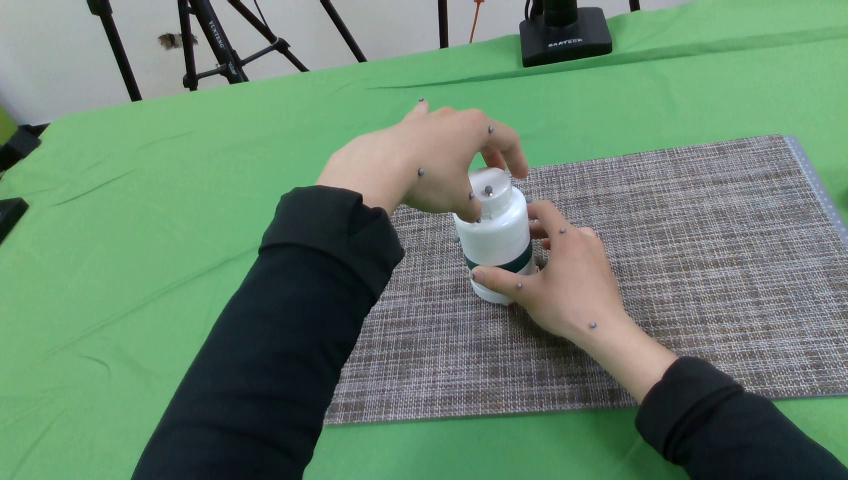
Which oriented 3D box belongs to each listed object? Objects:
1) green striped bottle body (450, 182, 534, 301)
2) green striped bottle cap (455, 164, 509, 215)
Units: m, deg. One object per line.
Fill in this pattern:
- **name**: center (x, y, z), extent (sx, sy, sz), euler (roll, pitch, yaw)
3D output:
- **green striped bottle body**: center (0.060, -0.006, 0.532), extent (0.063, 0.120, 0.062), euler (-9, 45, 10)
- **green striped bottle cap**: center (0.047, -0.042, 0.496), extent (0.044, 0.020, 0.044), euler (-7, 44, 7)
